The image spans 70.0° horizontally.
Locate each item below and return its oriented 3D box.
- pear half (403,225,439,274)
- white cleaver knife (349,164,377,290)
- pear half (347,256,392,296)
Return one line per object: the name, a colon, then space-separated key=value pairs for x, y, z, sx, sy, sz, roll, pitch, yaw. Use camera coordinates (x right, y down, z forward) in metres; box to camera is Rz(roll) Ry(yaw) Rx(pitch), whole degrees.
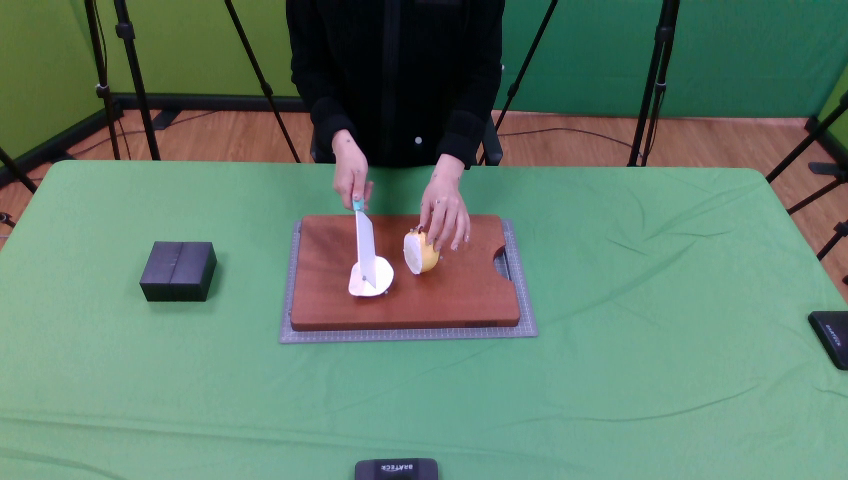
pear half: x=0.000 y=0.007 z=1.090 sx=0.056 sy=0.110 sz=0.076 roll=-24 pitch=60 yaw=-25
white cleaver knife: x=-0.111 y=-0.031 z=1.093 sx=0.021 sy=0.066 sz=0.284 roll=-22 pitch=47 yaw=16
pear half: x=-0.099 y=0.069 z=1.075 sx=0.088 sy=0.031 sz=0.070 roll=-39 pitch=75 yaw=-17
